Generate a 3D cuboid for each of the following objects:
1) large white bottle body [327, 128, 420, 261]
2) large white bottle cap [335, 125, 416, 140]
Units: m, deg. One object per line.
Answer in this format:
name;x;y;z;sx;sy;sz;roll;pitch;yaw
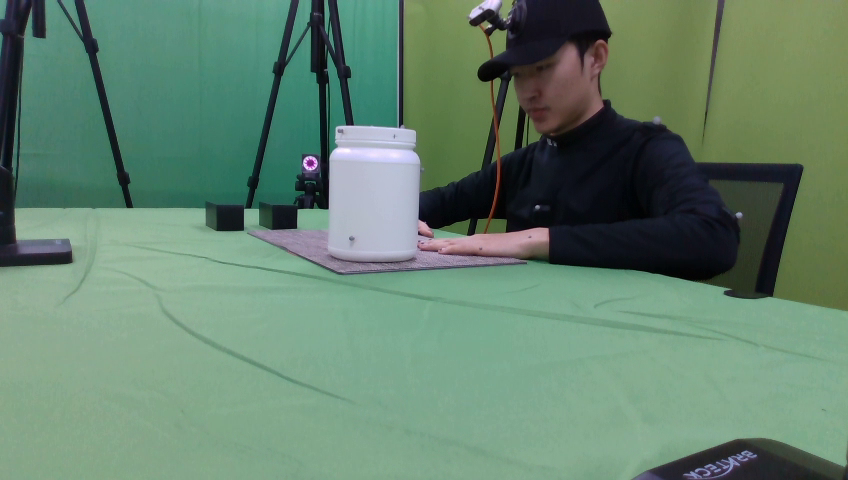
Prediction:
large white bottle body;-0.072;-0.069;0.870;0.131;0.184;0.130;2;8;0
large white bottle cap;-0.069;-0.151;0.859;0.115;0.018;0.115;2;7;0
